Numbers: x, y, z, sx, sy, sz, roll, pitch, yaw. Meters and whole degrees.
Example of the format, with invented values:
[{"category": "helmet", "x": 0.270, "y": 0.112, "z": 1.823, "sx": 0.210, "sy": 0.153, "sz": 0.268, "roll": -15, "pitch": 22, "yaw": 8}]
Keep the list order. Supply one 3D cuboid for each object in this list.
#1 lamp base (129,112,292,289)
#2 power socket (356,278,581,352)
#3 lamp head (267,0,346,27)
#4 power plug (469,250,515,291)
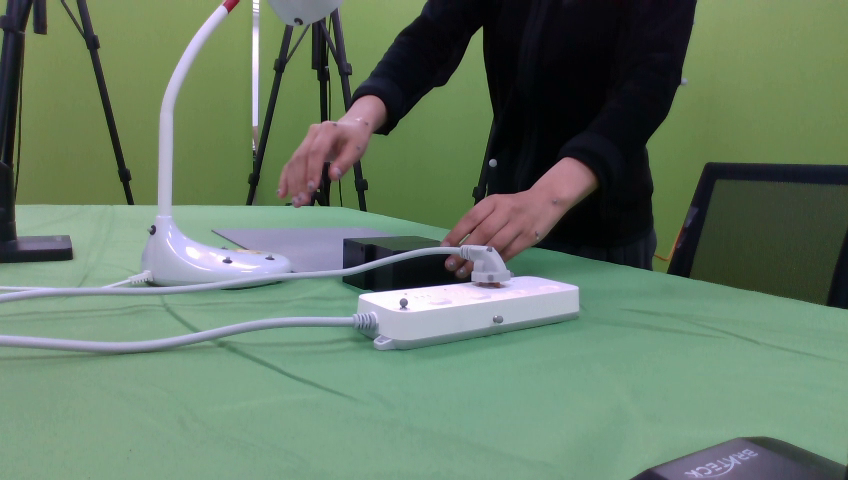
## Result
[{"category": "lamp base", "x": -0.233, "y": -0.045, "z": 0.658, "sx": 0.160, "sy": 0.180, "sz": 0.180, "roll": 7, "pitch": 11, "yaw": 29}, {"category": "power socket", "x": 0.046, "y": 0.059, "z": 0.523, "sx": 0.228, "sy": 0.032, "sz": 0.072, "roll": -3, "pitch": 8, "yaw": -36}, {"category": "lamp head", "x": -0.157, "y": -0.326, "z": 0.701, "sx": 0.112, "sy": 0.112, "sz": 0.123, "roll": 6, "pitch": -16, "yaw": 26}, {"category": "power plug", "x": 0.053, "y": 0.037, "z": 0.529, "sx": 0.035, "sy": 0.052, "sz": 0.073, "roll": -12, "pitch": 2, "yaw": 37}]
